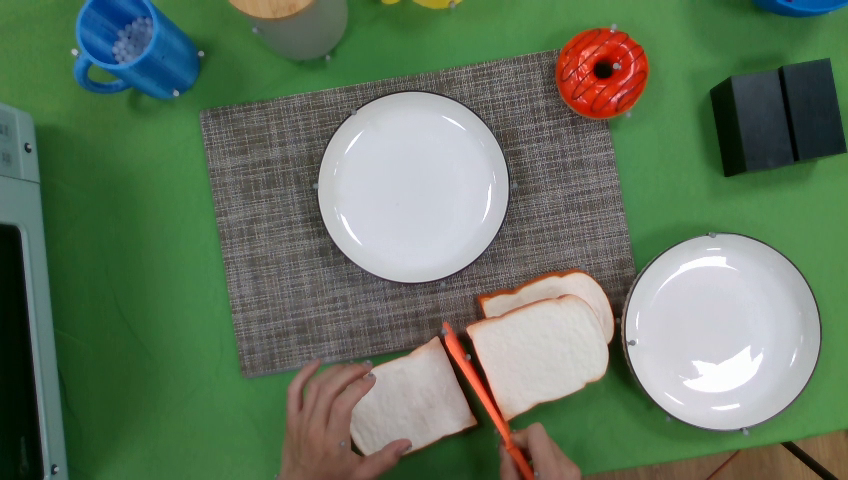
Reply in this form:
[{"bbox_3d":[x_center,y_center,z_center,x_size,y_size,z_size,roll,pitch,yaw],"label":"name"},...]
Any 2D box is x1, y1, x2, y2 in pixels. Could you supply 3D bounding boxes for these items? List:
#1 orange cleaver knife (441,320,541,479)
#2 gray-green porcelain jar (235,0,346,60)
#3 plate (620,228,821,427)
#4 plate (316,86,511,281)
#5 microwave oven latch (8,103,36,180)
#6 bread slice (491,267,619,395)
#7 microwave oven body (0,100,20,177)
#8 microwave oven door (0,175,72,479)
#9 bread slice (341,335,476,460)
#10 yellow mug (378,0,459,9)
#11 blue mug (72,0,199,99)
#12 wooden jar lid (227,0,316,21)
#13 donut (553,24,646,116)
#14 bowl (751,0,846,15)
[{"bbox_3d":[0.074,0.178,0.636,0.012,0.077,0.211,-31,89,5],"label":"orange cleaver knife"},{"bbox_3d":[-0.138,-0.252,0.626,0.106,0.126,0.105,0,88,1],"label":"gray-green porcelain jar"},{"bbox_3d":[0.312,0.092,0.651,0.209,0.038,0.209,0,89,2],"label":"plate"},{"bbox_3d":[-0.011,-0.060,0.658,0.207,0.039,0.207,0,89,1],"label":"plate"},{"bbox_3d":[-0.443,-0.105,0.654,0.030,0.029,0.079,-6,89,1],"label":"microwave oven latch"},{"bbox_3d":[0.143,0.086,0.621,0.135,0.018,0.106,-17,84,-28],"label":"bread slice"},{"bbox_3d":[-0.572,0.084,0.555,0.326,0.260,0.441,-7,89,1],"label":"microwave oven body"},{"bbox_3d":[-0.422,0.109,0.547,0.039,0.244,0.355,-7,88,2],"label":"microwave oven door"},{"bbox_3d":[-0.023,0.175,0.660,0.131,0.019,0.105,-24,91,-3],"label":"bread slice"},{"bbox_3d":[0.000,-0.302,0.654,0.131,0.064,0.100,-41,88,1],"label":"yellow mug"},{"bbox_3d":[-0.310,-0.193,0.638,0.116,0.106,0.082,-35,87,0],"label":"blue mug"},{"bbox_3d":[-0.140,-0.255,0.564,0.108,0.021,0.108,0,87,2],"label":"wooden jar lid"},{"bbox_3d":[0.188,-0.183,0.654,0.099,0.048,0.099,0,89,1],"label":"donut"},{"bbox_3d":[0.387,-0.302,0.639,0.151,0.077,0.151,0,89,2],"label":"bowl"}]
